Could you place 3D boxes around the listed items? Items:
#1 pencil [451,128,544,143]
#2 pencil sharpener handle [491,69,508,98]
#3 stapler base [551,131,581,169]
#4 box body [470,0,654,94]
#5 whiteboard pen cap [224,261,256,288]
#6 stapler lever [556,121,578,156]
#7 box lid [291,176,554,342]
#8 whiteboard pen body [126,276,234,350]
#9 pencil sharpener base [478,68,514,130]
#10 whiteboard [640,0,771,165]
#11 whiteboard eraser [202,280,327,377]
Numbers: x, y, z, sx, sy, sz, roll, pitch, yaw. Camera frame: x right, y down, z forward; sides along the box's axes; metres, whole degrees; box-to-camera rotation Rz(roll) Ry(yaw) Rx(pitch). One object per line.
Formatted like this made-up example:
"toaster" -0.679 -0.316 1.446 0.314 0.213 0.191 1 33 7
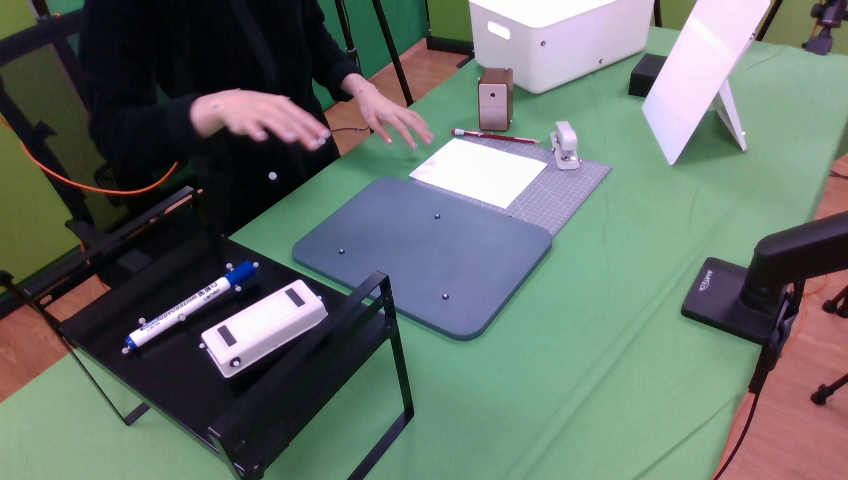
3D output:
"pencil" 0.145 -0.207 1.205 0.193 0.012 0.012 11 43 20
"pencil sharpener handle" 0.155 -0.329 1.254 0.036 0.068 0.030 17 43 4
"stapler base" 0.268 -0.178 1.142 0.041 0.024 0.130 0 37 3
"box body" 0.319 -0.498 1.405 0.365 0.161 0.252 -26 43 -21
"whiteboard pen cap" -0.207 0.039 0.677 0.033 0.018 0.018 -35 47 -18
"stapler lever" 0.266 -0.198 1.128 0.027 0.040 0.117 0 38 3
"box lid" -0.005 0.011 0.971 0.368 0.015 0.264 21 49 30
"whiteboard pen body" -0.251 0.071 0.649 0.141 0.017 0.017 -36 48 -26
"pencil sharpener base" 0.148 -0.286 1.225 0.061 0.107 0.076 5 41 15
"whiteboard" 0.543 -0.299 1.076 0.144 0.305 0.216 12 40 -7
"whiteboard eraser" -0.156 0.088 0.600 0.113 0.042 0.055 -30 47 -24
